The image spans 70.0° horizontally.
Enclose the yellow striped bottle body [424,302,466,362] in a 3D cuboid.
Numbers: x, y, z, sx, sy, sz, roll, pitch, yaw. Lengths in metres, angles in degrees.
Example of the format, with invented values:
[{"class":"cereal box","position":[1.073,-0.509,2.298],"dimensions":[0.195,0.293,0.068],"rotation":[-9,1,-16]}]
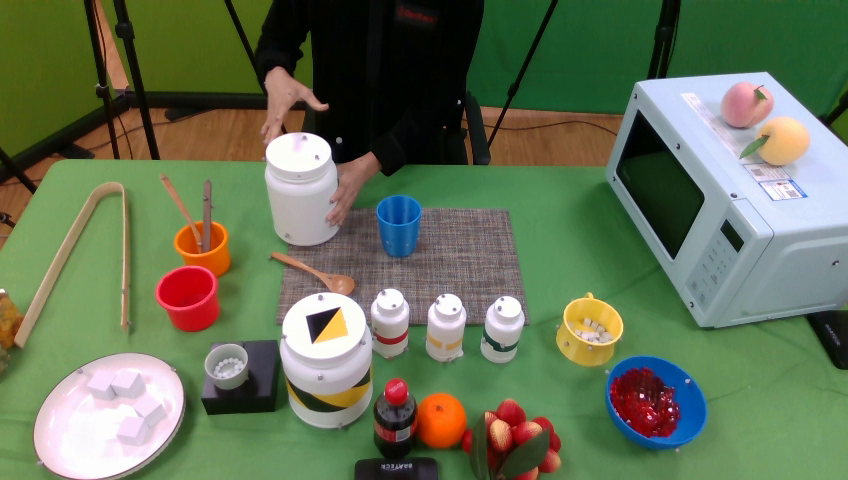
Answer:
[{"class":"yellow striped bottle body","position":[0.035,0.143,0.995],"dimensions":[0.063,0.121,0.062],"rotation":[3,46,-3]}]

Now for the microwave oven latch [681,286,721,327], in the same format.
[{"class":"microwave oven latch","position":[0.494,0.119,1.086],"dimensions":[0.030,0.029,0.078],"rotation":[-5,46,-9]}]

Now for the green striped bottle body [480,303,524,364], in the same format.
[{"class":"green striped bottle body","position":[0.129,0.147,1.000],"dimensions":[0.063,0.120,0.063],"rotation":[2,46,-2]}]

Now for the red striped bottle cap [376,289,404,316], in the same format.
[{"class":"red striped bottle cap","position":[-0.054,0.098,0.958],"dimensions":[0.044,0.018,0.044],"rotation":[0,48,1]}]

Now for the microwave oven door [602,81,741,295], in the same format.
[{"class":"microwave oven door","position":[0.456,-0.107,1.162],"dimensions":[0.039,0.245,0.353],"rotation":[-7,47,-11]}]

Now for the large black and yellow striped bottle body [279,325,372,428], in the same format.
[{"class":"large black and yellow striped bottle body","position":[-0.143,0.181,0.900],"dimensions":[0.131,0.185,0.130],"rotation":[2,46,-2]}]

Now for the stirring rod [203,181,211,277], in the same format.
[{"class":"stirring rod","position":[-0.396,-0.021,1.107],"dimensions":[0.014,0.006,0.176],"rotation":[-1,89,-1]}]

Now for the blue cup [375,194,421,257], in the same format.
[{"class":"blue cup","position":[-0.050,-0.022,1.155],"dimensions":[0.093,0.101,0.092],"rotation":[1,46,-1]}]

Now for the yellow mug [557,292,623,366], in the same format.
[{"class":"yellow mug","position":[0.285,0.145,1.051],"dimensions":[0.100,0.064,0.130],"rotation":[7,46,4]}]

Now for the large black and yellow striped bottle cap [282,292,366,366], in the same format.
[{"class":"large black and yellow striped bottle cap","position":[-0.138,0.121,0.841],"dimensions":[0.115,0.019,0.114],"rotation":[3,47,-3]}]

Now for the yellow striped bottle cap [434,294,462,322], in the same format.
[{"class":"yellow striped bottle cap","position":[0.038,0.107,0.958],"dimensions":[0.044,0.019,0.044],"rotation":[2,45,-2]}]

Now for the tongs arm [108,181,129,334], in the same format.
[{"class":"tongs arm","position":[-0.571,0.019,1.123],"dimensions":[0.051,0.026,0.382],"rotation":[-11,47,-12]}]

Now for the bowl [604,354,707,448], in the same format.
[{"class":"bowl","position":[0.346,0.261,0.937],"dimensions":[0.151,0.077,0.150],"rotation":[2,46,-2]}]

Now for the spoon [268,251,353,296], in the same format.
[{"class":"spoon","position":[-0.212,0.057,1.121],"dimensions":[0.193,0.022,0.041],"rotation":[24,74,18]}]

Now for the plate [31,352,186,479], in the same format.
[{"class":"plate","position":[-0.459,0.262,0.898],"dimensions":[0.209,0.038,0.208],"rotation":[2,46,-2]}]

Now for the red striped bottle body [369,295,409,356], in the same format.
[{"class":"red striped bottle body","position":[-0.059,0.134,0.997],"dimensions":[0.063,0.120,0.062],"rotation":[5,48,-5]}]

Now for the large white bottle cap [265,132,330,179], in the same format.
[{"class":"large white bottle cap","position":[-0.226,-0.153,1.086],"dimensions":[0.115,0.018,0.114],"rotation":[3,46,-3]}]

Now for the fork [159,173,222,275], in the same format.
[{"class":"fork","position":[-0.427,-0.029,1.104],"dimensions":[0.028,0.018,0.207],"rotation":[-31,99,-31]}]

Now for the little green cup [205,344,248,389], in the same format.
[{"class":"little green cup","position":[-0.294,0.191,0.909],"dimensions":[0.061,0.039,0.061],"rotation":[1,47,-1]}]

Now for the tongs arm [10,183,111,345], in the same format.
[{"class":"tongs arm","position":[-0.658,0.027,1.109],"dimensions":[0.028,0.028,0.385],"rotation":[-2,45,2]}]

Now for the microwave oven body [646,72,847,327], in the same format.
[{"class":"microwave oven body","position":[0.607,-0.089,1.164],"dimensions":[0.326,0.261,0.438],"rotation":[-7,46,-10]}]

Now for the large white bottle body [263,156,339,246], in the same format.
[{"class":"large white bottle body","position":[-0.232,-0.093,1.150],"dimensions":[0.131,0.185,0.130],"rotation":[2,47,-2]}]

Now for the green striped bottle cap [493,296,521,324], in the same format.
[{"class":"green striped bottle cap","position":[0.133,0.111,0.962],"dimensions":[0.044,0.020,0.044],"rotation":[2,47,-2]}]
